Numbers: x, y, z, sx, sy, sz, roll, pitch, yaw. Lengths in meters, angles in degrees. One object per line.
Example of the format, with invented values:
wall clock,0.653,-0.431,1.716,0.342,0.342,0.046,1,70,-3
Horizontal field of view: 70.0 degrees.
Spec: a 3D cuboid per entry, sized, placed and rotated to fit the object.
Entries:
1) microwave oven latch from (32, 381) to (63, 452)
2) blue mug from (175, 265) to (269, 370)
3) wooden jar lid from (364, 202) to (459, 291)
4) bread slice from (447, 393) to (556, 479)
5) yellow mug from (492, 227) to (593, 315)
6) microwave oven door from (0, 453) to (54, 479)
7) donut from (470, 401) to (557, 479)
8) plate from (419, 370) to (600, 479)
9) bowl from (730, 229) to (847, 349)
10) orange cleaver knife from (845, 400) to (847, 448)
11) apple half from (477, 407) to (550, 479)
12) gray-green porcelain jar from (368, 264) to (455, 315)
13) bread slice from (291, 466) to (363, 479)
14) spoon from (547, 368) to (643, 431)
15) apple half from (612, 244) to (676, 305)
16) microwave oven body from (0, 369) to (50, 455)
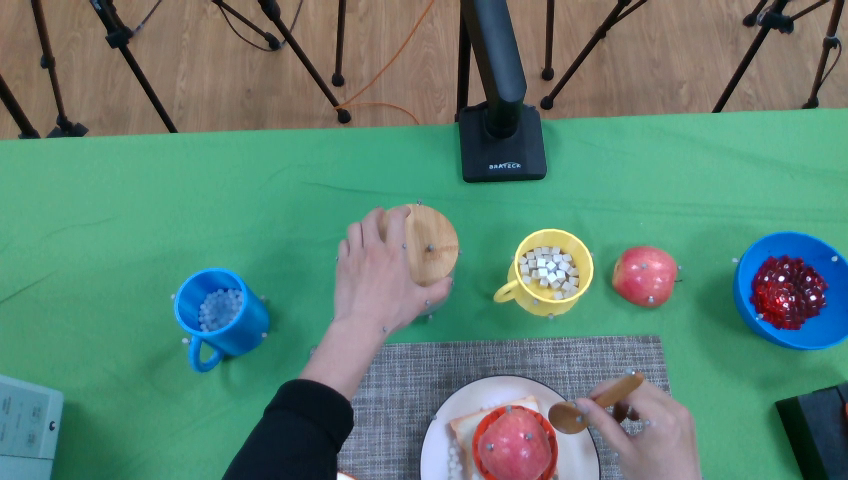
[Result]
microwave oven latch,-0.449,0.206,0.708,0.030,0.030,0.078,4,69,1
blue mug,-0.248,0.101,0.734,0.082,0.106,0.116,18,70,7
wooden jar lid,-0.015,0.009,0.694,0.108,0.021,0.107,0,67,0
bread slice,0.100,0.258,0.710,0.107,0.018,0.133,-20,71,-6
yellow mug,0.147,0.047,0.779,0.131,0.064,0.099,-24,70,-9
microwave oven door,-0.443,0.372,0.534,0.039,0.245,0.353,-2,68,0
donut,0.101,0.233,0.687,0.099,0.048,0.098,0,68,0
plate,0.097,0.259,0.707,0.208,0.039,0.206,0,69,0
bowl,0.453,0.070,0.765,0.151,0.077,0.150,0,69,0
orange cleaver knife,0.515,0.286,0.679,0.012,0.077,0.211,-11,91,-11
apple half,0.099,0.221,0.653,0.081,0.033,0.081,-2,70,6
gray-green porcelain jar,-0.014,0.032,0.752,0.106,0.127,0.105,0,68,0
bread slice,-0.119,0.327,0.691,0.105,0.019,0.130,5,70,1
spoon,0.163,0.156,0.583,0.041,0.195,0.021,36,65,9
apple half,0.289,0.039,0.790,0.074,0.054,0.080,18,70,10
microwave oven body,-0.590,0.339,0.552,0.326,0.262,0.438,-2,69,-1
